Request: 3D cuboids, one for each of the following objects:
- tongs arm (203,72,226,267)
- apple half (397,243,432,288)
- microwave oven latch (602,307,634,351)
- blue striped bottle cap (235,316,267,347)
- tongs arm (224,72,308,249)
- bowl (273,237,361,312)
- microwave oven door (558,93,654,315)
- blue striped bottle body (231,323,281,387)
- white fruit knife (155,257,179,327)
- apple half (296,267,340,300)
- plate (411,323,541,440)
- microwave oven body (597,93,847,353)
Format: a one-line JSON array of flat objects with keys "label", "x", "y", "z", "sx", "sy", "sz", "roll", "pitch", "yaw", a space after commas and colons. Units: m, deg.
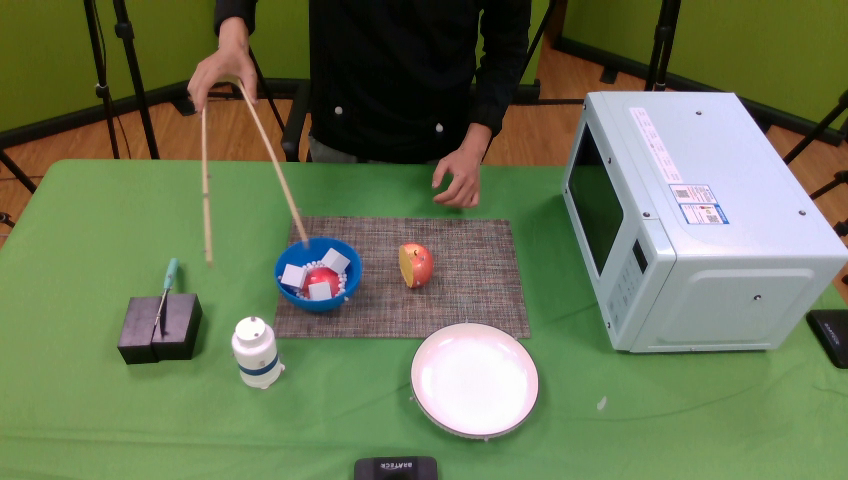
[{"label": "tongs arm", "x": -0.339, "y": -0.129, "z": 0.996, "sx": 0.051, "sy": 0.026, "sz": 0.382, "roll": -9, "pitch": 60, "yaw": -10}, {"label": "apple half", "x": -0.013, "y": 0.047, "z": 1.115, "sx": 0.053, "sy": 0.075, "sz": 0.080, "roll": -10, "pitch": 43, "yaw": -21}, {"label": "microwave oven latch", "x": 0.332, "y": 0.153, "z": 1.043, "sx": 0.030, "sy": 0.029, "sz": 0.078, "roll": -1, "pitch": 45, "yaw": -4}, {"label": "blue striped bottle cap", "x": -0.259, "y": 0.136, "z": 0.907, "sx": 0.044, "sy": 0.021, "sz": 0.044, "roll": 2, "pitch": 44, "yaw": -2}, {"label": "tongs arm", "x": -0.265, "y": -0.145, "z": 1.014, "sx": 0.028, "sy": 0.028, "sz": 0.385, "roll": -22, "pitch": 64, "yaw": -13}, {"label": "bowl", "x": -0.186, "y": 0.075, "z": 1.070, "sx": 0.151, "sy": 0.077, "sz": 0.150, "roll": 2, "pitch": 46, "yaw": -2}, {"label": "microwave oven door", "x": 0.327, "y": -0.074, "z": 1.123, "sx": 0.039, "sy": 0.245, "sz": 0.353, "roll": -1, "pitch": 46, "yaw": -5}, {"label": "blue striped bottle body", "x": -0.262, "y": 0.171, "z": 0.944, "sx": 0.063, "sy": 0.121, "sz": 0.062, "roll": 2, "pitch": 46, "yaw": -2}, {"label": "white fruit knife", "x": -0.440, "y": 0.085, "z": 1.037, "sx": 0.016, "sy": 0.027, "sz": 0.206, "roll": 10, "pitch": 26, "yaw": -19}, {"label": "apple half", "x": -0.187, "y": 0.070, "z": 1.067, "sx": 0.081, "sy": 0.033, "sz": 0.081, "roll": 3, "pitch": 47, "yaw": -3}, {"label": "plate", "x": 0.082, "y": 0.228, "z": 0.976, "sx": 0.208, "sy": 0.039, "sz": 0.206, "roll": 2, "pitch": 45, "yaw": -2}, {"label": "microwave oven body", "x": 0.475, "y": -0.041, "z": 1.109, "sx": 0.326, "sy": 0.261, "sz": 0.438, "roll": -1, "pitch": 45, "yaw": -4}]
